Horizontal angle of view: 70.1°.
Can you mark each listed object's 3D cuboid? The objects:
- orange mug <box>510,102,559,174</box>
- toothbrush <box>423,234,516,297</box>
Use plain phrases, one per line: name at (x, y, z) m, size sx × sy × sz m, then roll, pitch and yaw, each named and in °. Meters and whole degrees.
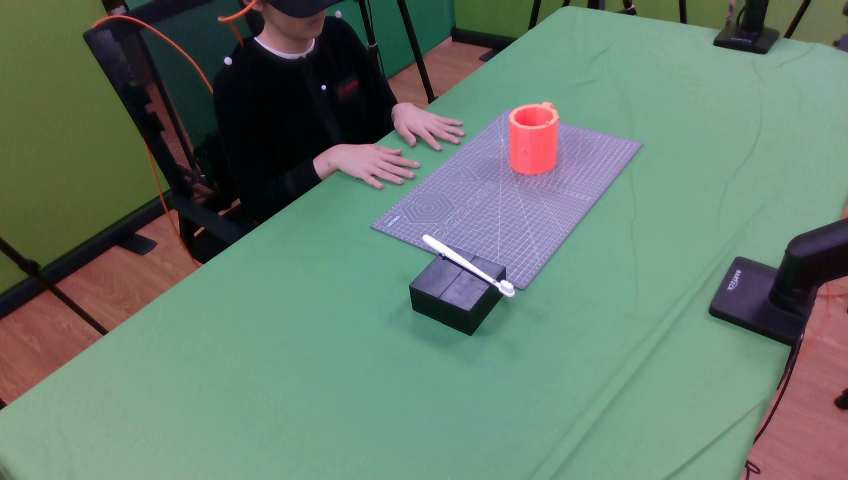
orange mug at (0.210, -0.195, 1.109) m, size 0.083 × 0.101 × 0.126 m, roll 16°, pitch 50°, yaw 26°
toothbrush at (0.060, 0.031, 0.859) m, size 0.014 × 0.017 × 0.180 m, roll -36°, pitch 48°, yaw -25°
